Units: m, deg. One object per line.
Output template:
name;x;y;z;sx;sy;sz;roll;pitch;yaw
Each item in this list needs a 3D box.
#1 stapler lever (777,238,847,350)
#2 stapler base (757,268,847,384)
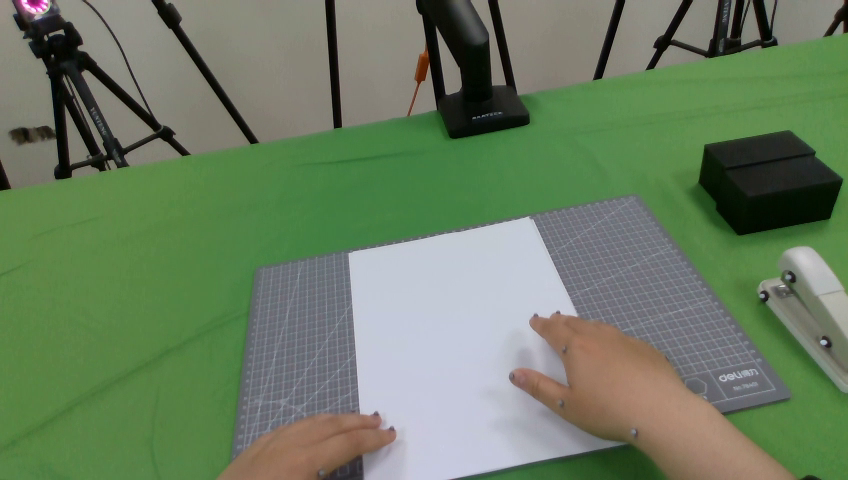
stapler lever;0.336;0.045;0.500;0.027;0.040;0.117;-13;41;-1
stapler base;0.339;0.063;0.518;0.041;0.025;0.129;-13;41;-1
